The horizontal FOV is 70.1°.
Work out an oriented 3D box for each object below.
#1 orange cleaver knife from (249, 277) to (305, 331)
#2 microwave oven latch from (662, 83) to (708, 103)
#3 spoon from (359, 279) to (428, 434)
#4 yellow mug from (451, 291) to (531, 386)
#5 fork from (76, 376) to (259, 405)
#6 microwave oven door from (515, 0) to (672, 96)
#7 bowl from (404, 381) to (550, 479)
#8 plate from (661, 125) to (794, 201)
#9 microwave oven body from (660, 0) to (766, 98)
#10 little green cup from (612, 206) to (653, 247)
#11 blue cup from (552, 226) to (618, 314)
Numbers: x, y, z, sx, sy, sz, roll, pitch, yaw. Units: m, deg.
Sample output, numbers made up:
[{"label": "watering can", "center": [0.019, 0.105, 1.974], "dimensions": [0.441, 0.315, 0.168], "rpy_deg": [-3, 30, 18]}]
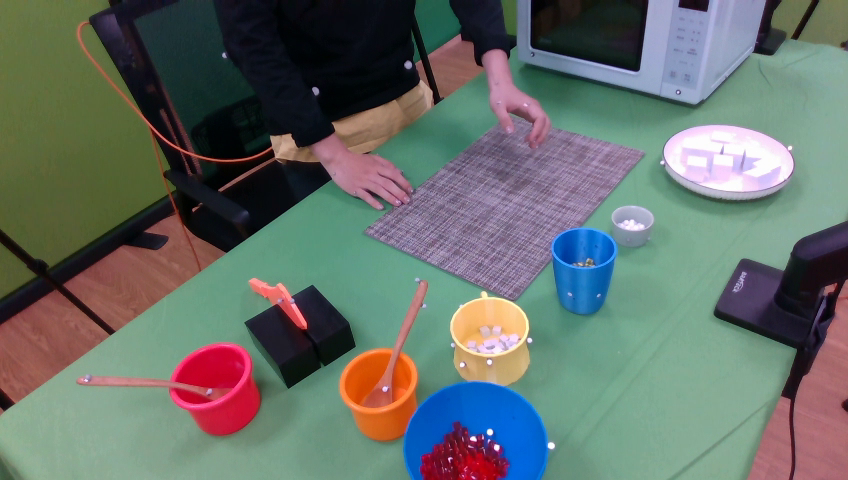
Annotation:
[{"label": "orange cleaver knife", "center": [-0.210, 0.088, 0.856], "dimensions": [0.012, 0.077, 0.210], "rpy_deg": [-28, 15, -25]}, {"label": "microwave oven latch", "center": [0.517, -0.296, 1.204], "dimensions": [0.078, 0.029, 0.030], "rpy_deg": [27, 52, 35]}, {"label": "spoon", "center": [-0.032, 0.138, 0.719], "dimensions": [0.041, 0.193, 0.022], "rpy_deg": [22, 4, 29]}, {"label": "yellow mug", "center": [0.086, 0.120, 0.786], "dimensions": [0.100, 0.064, 0.130], "rpy_deg": [-7, 39, 2]}, {"label": "fork", "center": [-0.295, 0.176, 0.716], "dimensions": [0.209, 0.018, 0.028], "rpy_deg": [19, 27, -36]}, {"label": "microwave oven door", "center": [0.344, -0.455, 1.259], "dimensions": [0.353, 0.245, 0.039], "rpy_deg": [26, 51, 33]}, {"label": "bowl", "center": [0.058, 0.235, 0.645], "dimensions": [0.151, 0.077, 0.150], "rpy_deg": [-4, 39, 4]}, {"label": "plate", "center": [0.513, -0.128, 1.035], "dimensions": [0.207, 0.039, 0.206], "rpy_deg": [-4, 40, 4]}, {"label": "microwave oven body", "center": [0.472, -0.513, 1.317], "dimensions": [0.438, 0.261, 0.327], "rpy_deg": [26, 51, 34]}, {"label": "little green cup", "center": [0.321, -0.019, 0.936], "dimensions": [0.061, 0.039, 0.061], "rpy_deg": [-4, 41, 4]}, {"label": "blue cup", "center": [0.217, 0.047, 0.825], "dimensions": [0.092, 0.100, 0.092], "rpy_deg": [-6, 40, 5]}]
